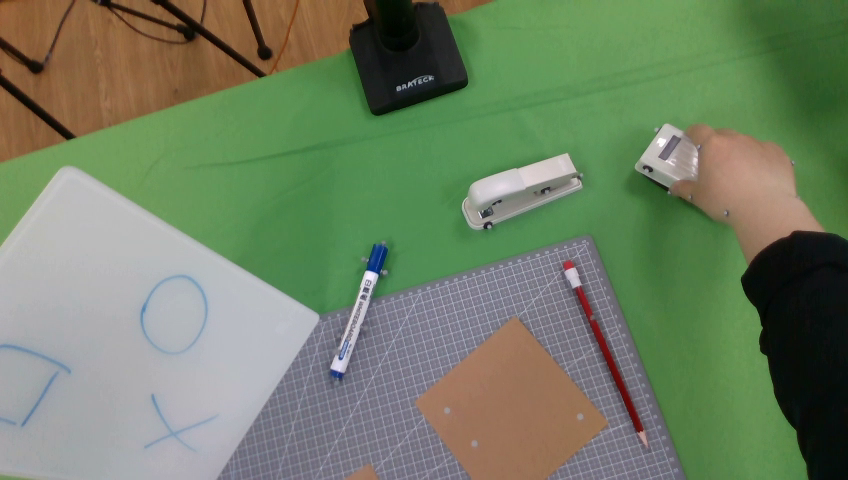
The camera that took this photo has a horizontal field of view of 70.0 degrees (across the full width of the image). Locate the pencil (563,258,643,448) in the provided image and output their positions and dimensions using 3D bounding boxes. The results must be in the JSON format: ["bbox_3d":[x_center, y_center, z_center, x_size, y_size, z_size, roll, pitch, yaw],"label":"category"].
[{"bbox_3d":[0.175,0.107,0.593,0.012,0.012,0.193,-19,74,1],"label":"pencil"}]

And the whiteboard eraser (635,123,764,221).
[{"bbox_3d":[0.279,-0.069,0.618,0.112,0.042,0.055,34,82,15],"label":"whiteboard eraser"}]

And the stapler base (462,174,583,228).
[{"bbox_3d":[0.105,-0.055,0.646,0.130,0.024,0.041,-22,75,-2],"label":"stapler base"}]

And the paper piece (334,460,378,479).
[{"bbox_3d":[-0.078,0.302,0.568,0.135,0.004,0.135,-31,74,-4],"label":"paper piece"}]

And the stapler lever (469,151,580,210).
[{"bbox_3d":[0.103,-0.063,0.624,0.118,0.040,0.026,-22,74,0],"label":"stapler lever"}]

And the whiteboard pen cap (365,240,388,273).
[{"bbox_3d":[-0.051,0.018,0.644,0.018,0.018,0.033,13,75,11],"label":"whiteboard pen cap"}]

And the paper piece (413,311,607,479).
[{"bbox_3d":[0.081,0.165,0.589,0.136,0.009,0.137,-39,75,-1],"label":"paper piece"}]

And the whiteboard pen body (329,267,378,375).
[{"bbox_3d":[-0.069,0.072,0.631,0.017,0.017,0.140,16,76,12],"label":"whiteboard pen body"}]

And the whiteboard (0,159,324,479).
[{"bbox_3d":[-0.275,0.079,0.537,0.142,0.309,0.217,26,78,35],"label":"whiteboard"}]
